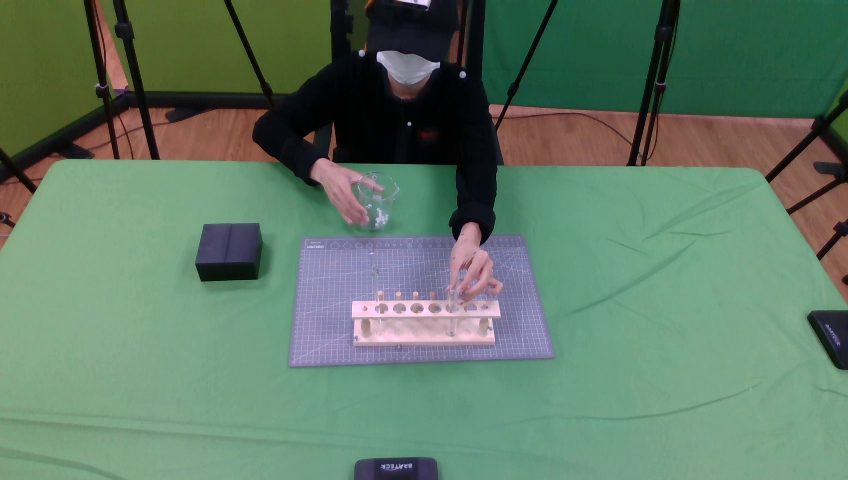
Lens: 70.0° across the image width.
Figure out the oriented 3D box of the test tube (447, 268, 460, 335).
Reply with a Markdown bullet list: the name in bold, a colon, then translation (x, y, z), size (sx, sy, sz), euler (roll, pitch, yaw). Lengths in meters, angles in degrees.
- **test tube**: translation (0.047, 0.103, 0.979), size (0.017, 0.151, 0.017), euler (0, 42, 0)

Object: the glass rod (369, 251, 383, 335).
- **glass rod**: translation (-0.075, 0.090, 0.965), size (0.008, 0.201, 0.008), euler (-1, 44, 1)

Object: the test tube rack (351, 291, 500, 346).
- **test tube rack**: translation (0.000, 0.129, 1.026), size (0.242, 0.085, 0.066), euler (0, 46, -4)

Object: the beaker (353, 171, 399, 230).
- **beaker**: translation (-0.097, -0.074, 1.184), size (0.084, 0.100, 0.073), euler (5, 53, -10)
